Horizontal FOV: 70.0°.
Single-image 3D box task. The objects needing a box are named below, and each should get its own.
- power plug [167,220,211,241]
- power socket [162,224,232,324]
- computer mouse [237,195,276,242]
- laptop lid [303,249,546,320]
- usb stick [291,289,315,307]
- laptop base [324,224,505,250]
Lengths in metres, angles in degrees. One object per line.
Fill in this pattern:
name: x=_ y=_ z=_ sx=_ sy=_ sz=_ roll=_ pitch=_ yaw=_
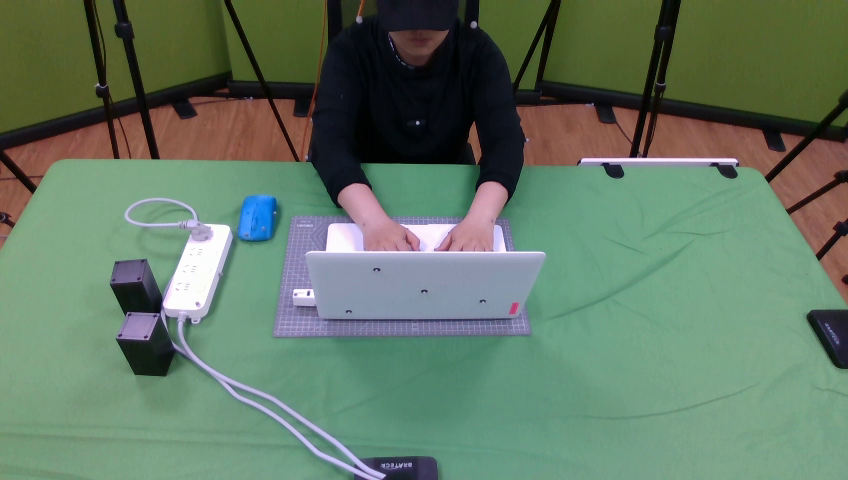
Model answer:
power plug: x=-0.438 y=-0.017 z=1.143 sx=0.072 sy=0.053 sz=0.035 roll=10 pitch=43 yaw=7
power socket: x=-0.411 y=0.053 z=1.106 sx=0.072 sy=0.033 sz=0.225 roll=4 pitch=45 yaw=-1
computer mouse: x=-0.333 y=-0.047 z=1.206 sx=0.063 sy=0.041 sz=0.116 roll=3 pitch=50 yaw=-4
laptop lid: x=-0.002 y=0.077 z=0.962 sx=0.357 sy=0.242 sz=0.013 roll=1 pitch=58 yaw=-5
usb stick: x=-0.203 y=0.102 z=1.066 sx=0.059 sy=0.027 sz=0.021 roll=4 pitch=45 yaw=-5
laptop base: x=-0.014 y=0.056 z=1.144 sx=0.355 sy=0.023 sz=0.234 roll=0 pitch=42 yaw=-4
